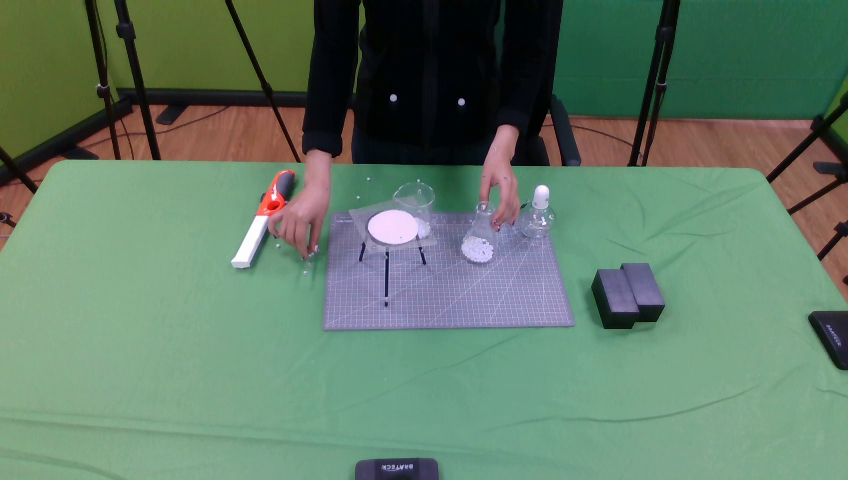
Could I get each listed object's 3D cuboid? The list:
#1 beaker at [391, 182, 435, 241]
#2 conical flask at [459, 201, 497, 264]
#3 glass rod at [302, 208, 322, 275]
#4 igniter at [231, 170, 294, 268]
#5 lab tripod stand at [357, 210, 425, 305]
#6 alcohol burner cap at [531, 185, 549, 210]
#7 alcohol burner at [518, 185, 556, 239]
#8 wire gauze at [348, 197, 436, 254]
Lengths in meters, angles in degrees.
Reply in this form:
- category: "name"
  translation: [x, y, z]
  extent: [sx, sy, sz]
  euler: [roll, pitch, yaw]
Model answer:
- category: "beaker"
  translation: [-0.023, -0.053, 1.192]
  extent: [0.084, 0.101, 0.073]
  euler: [-2, 46, -5]
- category: "conical flask"
  translation: [0.108, -0.018, 1.153]
  extent: [0.075, 0.122, 0.075]
  euler: [2, 46, -2]
- category: "glass rod"
  translation: [-0.216, -0.001, 1.180]
  extent: [0.008, 0.008, 0.198]
  euler: [3, 40, 0]
- category: "igniter"
  translation: [-0.321, -0.051, 1.220]
  extent: [0.057, 0.025, 0.275]
  euler: [2, 45, 11]
- category: "lab tripod stand"
  translation: [-0.060, 0.020, 1.094]
  extent: [0.148, 0.132, 0.147]
  euler: [3, 44, -2]
- category: "alcohol burner cap"
  translation: [0.228, -0.085, 1.183]
  extent: [0.034, 0.048, 0.033]
  euler: [-1, 48, 2]
- category: "alcohol burner"
  translation: [0.227, -0.061, 1.209]
  extent: [0.078, 0.120, 0.077]
  euler: [1, 44, -1]
- category: "wire gauze"
  translation: [-0.056, -0.026, 1.045]
  extent: [0.125, 0.011, 0.120]
  euler: [-12, 47, -17]
